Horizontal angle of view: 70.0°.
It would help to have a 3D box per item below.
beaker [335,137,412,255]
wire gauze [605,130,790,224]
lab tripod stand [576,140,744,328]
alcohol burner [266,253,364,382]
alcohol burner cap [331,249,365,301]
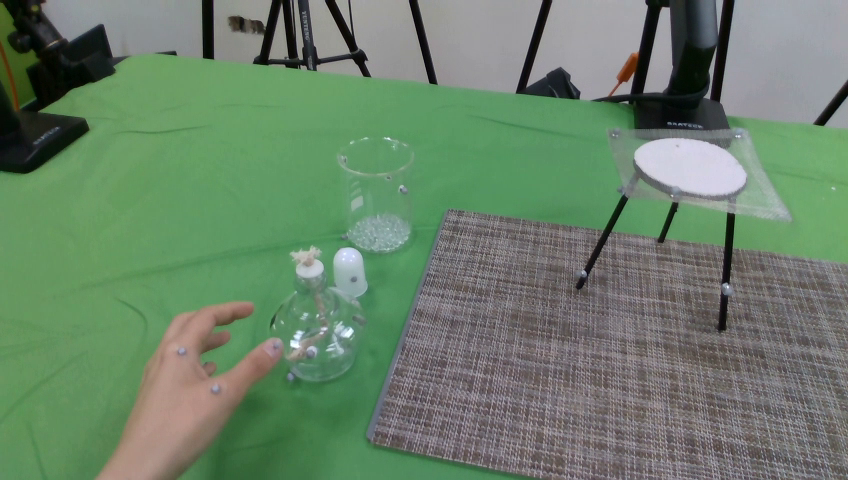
[{"bbox_3d":[-0.046,-0.043,0.610,0.073,0.101,0.083,19,42,20],"label":"beaker"},{"bbox_3d":[0.216,-0.059,0.492,0.125,0.011,0.120,6,40,5],"label":"wire gauze"},{"bbox_3d":[0.219,-0.009,0.538,0.148,0.132,0.147,2,39,-1],"label":"lab tripod stand"},{"bbox_3d":[-0.086,0.055,0.475,0.078,0.120,0.077,1,41,-1],"label":"alcohol burner"},{"bbox_3d":[-0.072,0.030,0.565,0.034,0.048,0.033,1,39,0],"label":"alcohol burner cap"}]
